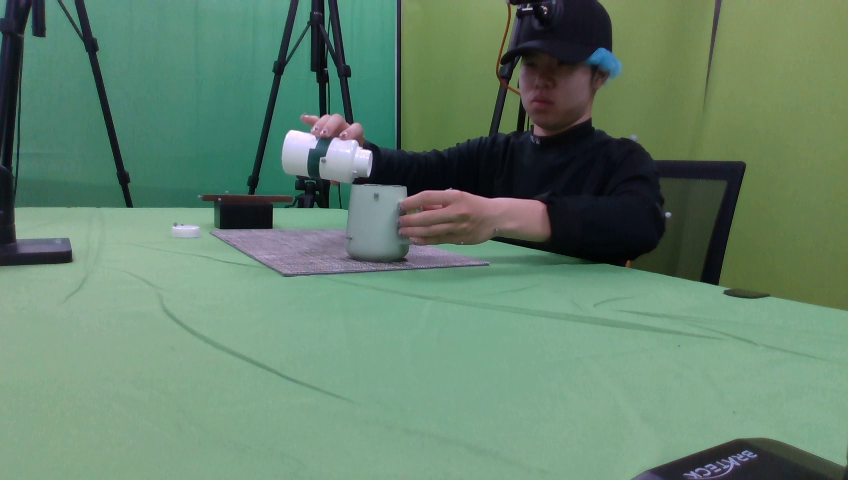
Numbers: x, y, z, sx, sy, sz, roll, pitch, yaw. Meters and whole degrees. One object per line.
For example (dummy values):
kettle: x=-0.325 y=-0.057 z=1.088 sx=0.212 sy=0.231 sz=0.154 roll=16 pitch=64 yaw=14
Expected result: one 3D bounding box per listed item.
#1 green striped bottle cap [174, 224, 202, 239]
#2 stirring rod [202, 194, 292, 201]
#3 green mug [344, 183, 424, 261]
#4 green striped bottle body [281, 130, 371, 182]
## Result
green striped bottle cap: x=-0.404 y=-0.015 z=1.036 sx=0.044 sy=0.020 sz=0.044 roll=-2 pitch=9 yaw=1
stirring rod: x=-0.353 y=-0.086 z=1.216 sx=0.177 sy=0.014 sz=0.006 roll=-1 pitch=12 yaw=-27
green mug: x=-0.053 y=-0.026 z=0.849 sx=0.125 sy=0.105 sz=0.093 roll=7 pitch=9 yaw=33
green striped bottle body: x=-0.137 y=-0.118 z=0.864 sx=0.119 sy=0.063 sz=0.063 roll=8 pitch=8 yaw=2
